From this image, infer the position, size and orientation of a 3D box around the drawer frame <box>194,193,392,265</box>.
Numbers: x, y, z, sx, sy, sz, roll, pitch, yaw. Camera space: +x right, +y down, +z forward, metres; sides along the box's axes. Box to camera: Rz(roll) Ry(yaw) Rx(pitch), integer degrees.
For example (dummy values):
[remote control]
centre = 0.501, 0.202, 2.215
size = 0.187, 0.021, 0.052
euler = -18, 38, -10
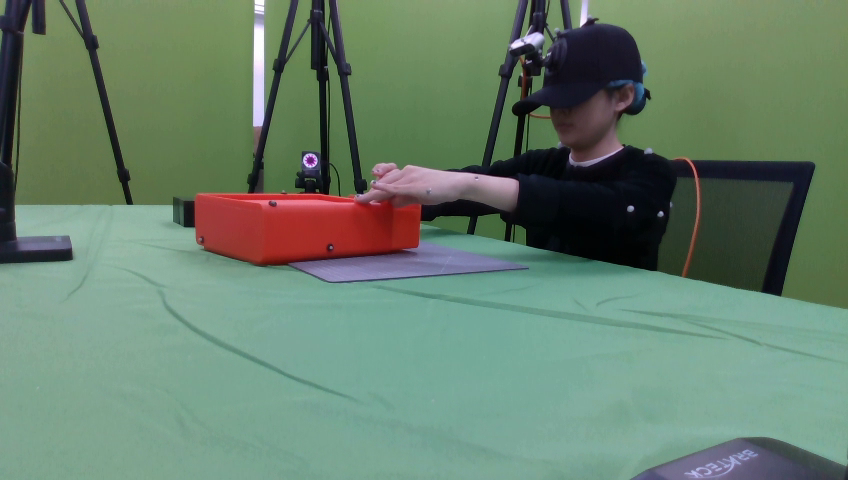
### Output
[drawer frame]
centre = -0.190, -0.024, 0.882
size = 0.215, 0.082, 0.200
euler = -5, 11, -44

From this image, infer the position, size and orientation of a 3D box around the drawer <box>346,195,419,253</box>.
[drawer]
centre = -0.148, -0.025, 0.920
size = 0.213, 0.073, 0.193
euler = -5, 12, -42

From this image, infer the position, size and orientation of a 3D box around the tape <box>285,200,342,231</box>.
[tape]
centre = -0.223, -0.051, 1.221
size = 0.117, 0.052, 0.117
euler = 3, 7, 0
